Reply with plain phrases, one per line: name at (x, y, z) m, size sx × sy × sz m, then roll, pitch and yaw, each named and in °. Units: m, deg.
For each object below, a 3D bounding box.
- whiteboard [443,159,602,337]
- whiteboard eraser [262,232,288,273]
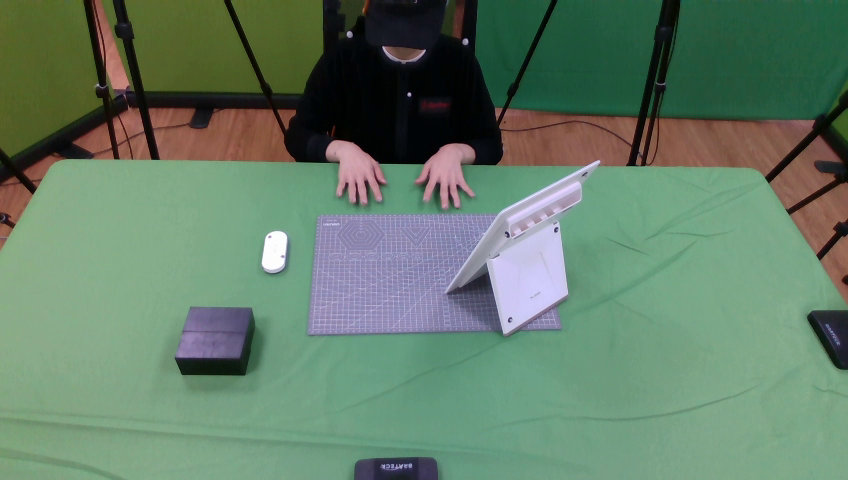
whiteboard at (0.193, 0.036, 1.017) m, size 0.217 × 0.306 × 0.143 m, roll -26°, pitch 72°, yaw -26°
whiteboard eraser at (-0.285, 0.023, 1.158) m, size 0.041 × 0.019 × 0.100 m, roll -1°, pitch 45°, yaw -4°
